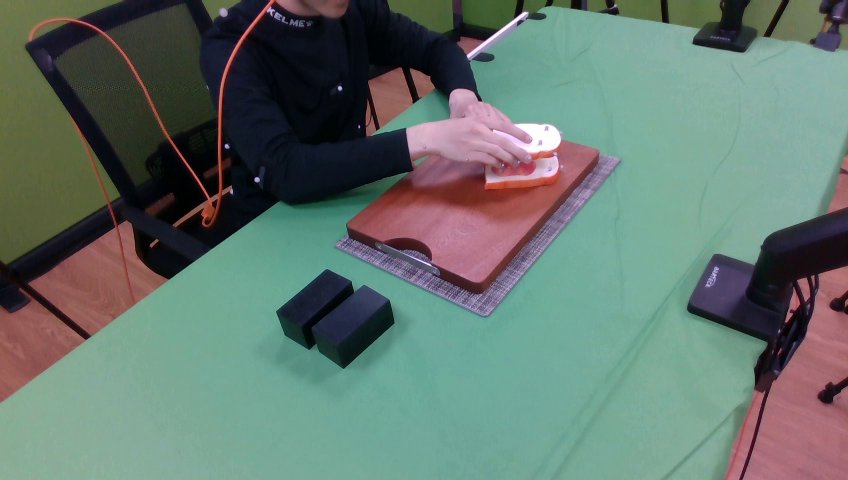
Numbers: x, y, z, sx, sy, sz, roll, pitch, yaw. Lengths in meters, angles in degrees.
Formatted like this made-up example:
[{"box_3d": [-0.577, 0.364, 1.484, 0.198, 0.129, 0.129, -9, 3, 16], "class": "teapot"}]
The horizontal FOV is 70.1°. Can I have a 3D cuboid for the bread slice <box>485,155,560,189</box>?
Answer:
[{"box_3d": [0.170, -0.129, 1.054, 0.131, 0.019, 0.104, -3, 42, 5], "class": "bread slice"}]

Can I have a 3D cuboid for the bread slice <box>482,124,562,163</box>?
[{"box_3d": [0.163, -0.166, 1.019, 0.134, 0.018, 0.106, -4, 39, 4], "class": "bread slice"}]

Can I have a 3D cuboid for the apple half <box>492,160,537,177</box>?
[{"box_3d": [0.153, -0.142, 1.037, 0.081, 0.033, 0.081, -5, 41, 5], "class": "apple half"}]
